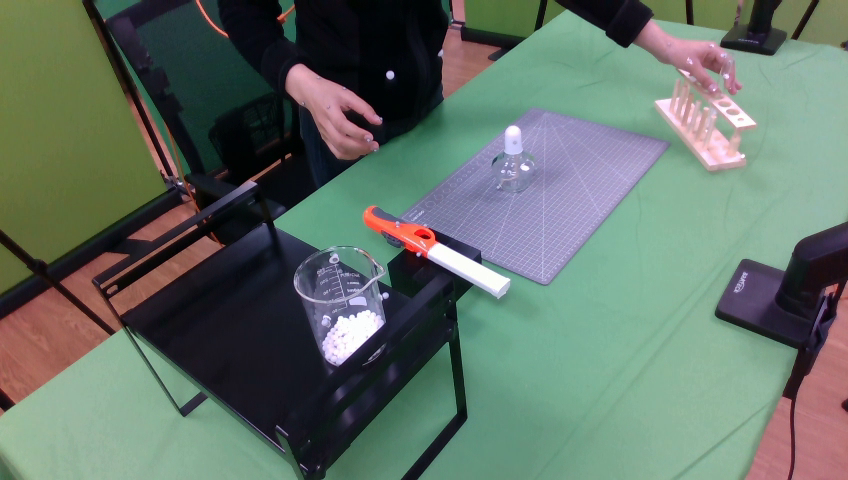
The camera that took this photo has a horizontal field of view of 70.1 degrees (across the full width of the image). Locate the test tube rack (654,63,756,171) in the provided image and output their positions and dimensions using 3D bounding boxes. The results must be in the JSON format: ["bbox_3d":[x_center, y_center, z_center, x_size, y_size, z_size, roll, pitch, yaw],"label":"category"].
[{"bbox_3d":[0.511,-0.233,1.120,0.067,0.085,0.241,-9,41,-1],"label":"test tube rack"}]

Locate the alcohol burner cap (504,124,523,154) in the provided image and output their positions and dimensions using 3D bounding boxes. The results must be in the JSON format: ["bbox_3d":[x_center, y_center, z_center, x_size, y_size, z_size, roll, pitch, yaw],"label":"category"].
[{"bbox_3d":[0.151,-0.172,1.022,0.034,0.048,0.033,-4,36,3],"label":"alcohol burner cap"}]

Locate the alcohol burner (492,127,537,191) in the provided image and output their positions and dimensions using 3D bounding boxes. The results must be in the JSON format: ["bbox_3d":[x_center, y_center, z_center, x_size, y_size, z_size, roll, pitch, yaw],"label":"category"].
[{"bbox_3d":[0.156,-0.146,1.045,0.078,0.119,0.077,-4,43,4],"label":"alcohol burner"}]

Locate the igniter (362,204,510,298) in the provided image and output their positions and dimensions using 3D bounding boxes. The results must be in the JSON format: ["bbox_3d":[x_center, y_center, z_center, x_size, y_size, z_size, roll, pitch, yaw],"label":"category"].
[{"bbox_3d":[0.007,0.009,0.887,0.274,0.025,0.057,29,50,32],"label":"igniter"}]

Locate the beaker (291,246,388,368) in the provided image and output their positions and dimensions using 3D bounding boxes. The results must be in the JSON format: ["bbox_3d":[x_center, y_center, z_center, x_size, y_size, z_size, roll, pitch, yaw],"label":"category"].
[{"bbox_3d":[-0.073,0.066,0.572,0.084,0.101,0.073,-7,41,0],"label":"beaker"}]

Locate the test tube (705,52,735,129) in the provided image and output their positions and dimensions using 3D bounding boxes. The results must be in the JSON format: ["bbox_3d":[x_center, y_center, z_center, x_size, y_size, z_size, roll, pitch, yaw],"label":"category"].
[{"bbox_3d":[0.525,-0.262,1.076,0.017,0.151,0.017,-2,42,3],"label":"test tube"}]
